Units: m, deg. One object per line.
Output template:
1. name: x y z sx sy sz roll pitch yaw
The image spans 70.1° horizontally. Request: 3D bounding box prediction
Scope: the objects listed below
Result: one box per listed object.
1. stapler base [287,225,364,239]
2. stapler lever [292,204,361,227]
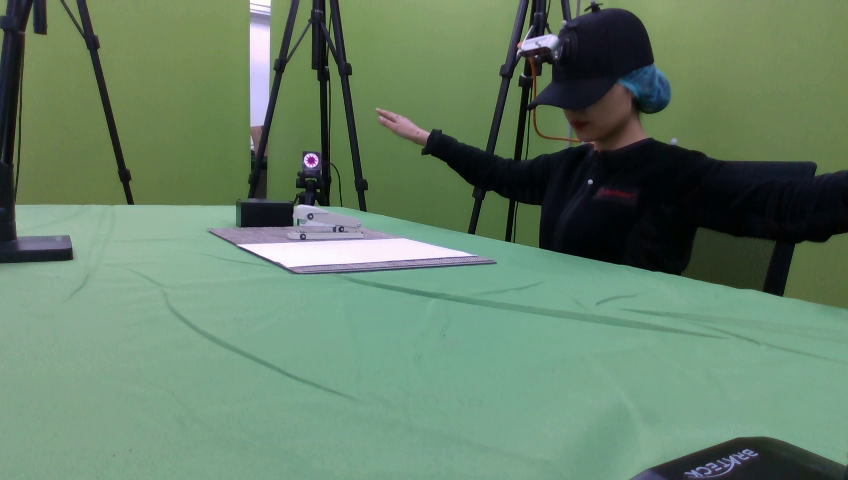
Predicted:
1. stapler base: -0.169 -0.016 1.039 0.131 0.024 0.041 0 11 -29
2. stapler lever: -0.166 -0.041 1.037 0.119 0.040 0.026 -1 11 -28
